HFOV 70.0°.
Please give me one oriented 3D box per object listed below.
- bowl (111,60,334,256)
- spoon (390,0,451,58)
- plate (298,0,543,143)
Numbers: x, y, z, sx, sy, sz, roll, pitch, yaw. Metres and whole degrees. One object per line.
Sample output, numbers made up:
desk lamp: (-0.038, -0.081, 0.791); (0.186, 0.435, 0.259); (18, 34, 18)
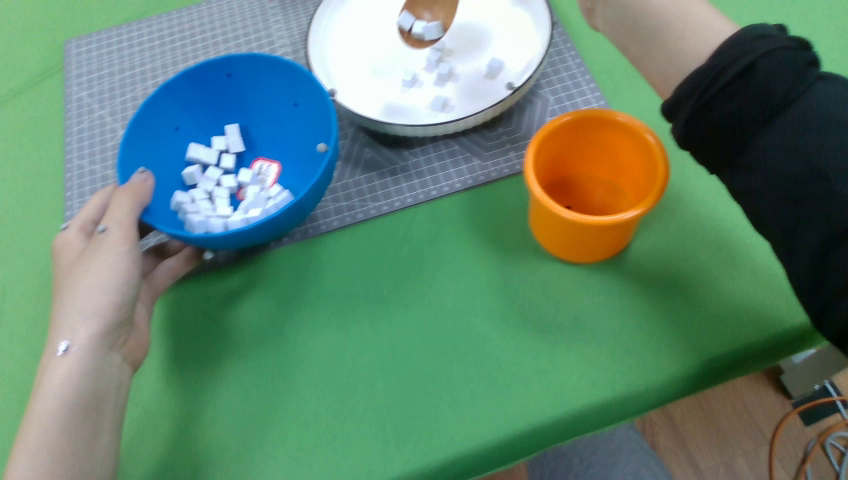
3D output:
bowl: (-0.132, -0.046, 0.440); (0.151, 0.077, 0.150); (-2, 64, 5)
spoon: (0.033, -0.211, 0.424); (0.041, 0.194, 0.021); (43, 37, 4)
plate: (-0.003, -0.164, 0.525); (0.209, 0.038, 0.207); (-2, 62, 4)
